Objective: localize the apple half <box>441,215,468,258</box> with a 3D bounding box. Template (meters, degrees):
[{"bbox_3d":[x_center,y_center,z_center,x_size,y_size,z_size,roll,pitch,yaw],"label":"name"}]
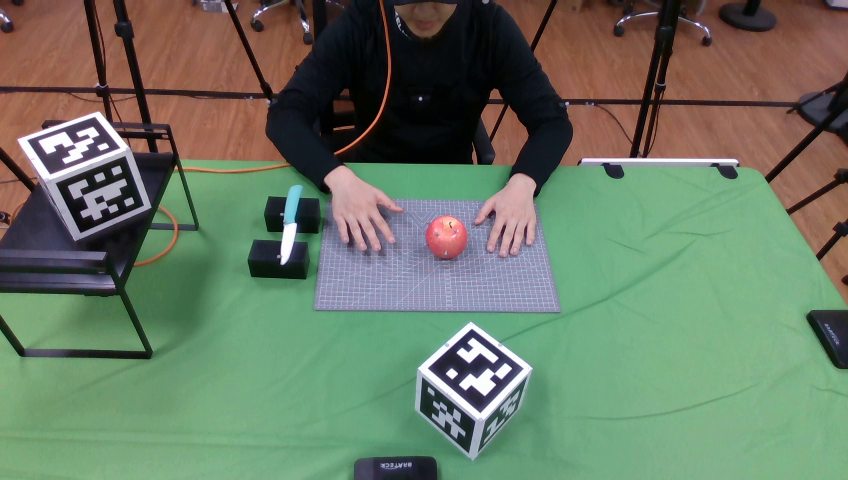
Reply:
[{"bbox_3d":[0.058,-0.004,1.162,0.053,0.075,0.080,4,41,-6],"label":"apple half"}]

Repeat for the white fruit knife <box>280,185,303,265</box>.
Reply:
[{"bbox_3d":[-0.253,-0.032,1.143,0.027,0.016,0.206,7,46,-9],"label":"white fruit knife"}]

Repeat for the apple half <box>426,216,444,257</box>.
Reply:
[{"bbox_3d":[0.019,-0.005,1.158,0.033,0.081,0.081,3,46,-7],"label":"apple half"}]
